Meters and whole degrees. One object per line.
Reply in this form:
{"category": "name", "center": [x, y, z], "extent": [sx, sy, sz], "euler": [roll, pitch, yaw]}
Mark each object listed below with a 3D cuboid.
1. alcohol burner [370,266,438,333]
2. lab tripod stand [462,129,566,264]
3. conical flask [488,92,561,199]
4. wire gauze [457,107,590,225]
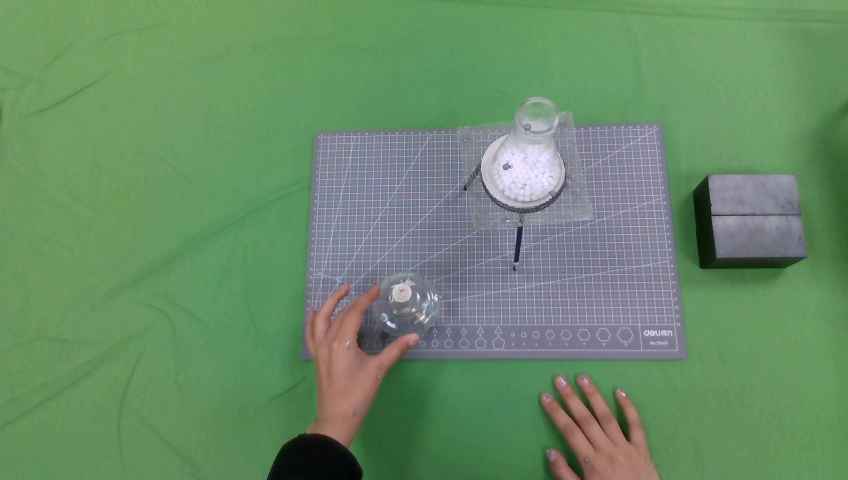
{"category": "alcohol burner", "center": [-0.023, 0.063, 0.676], "extent": [0.078, 0.120, 0.077], "euler": [0, 74, 2]}
{"category": "lab tripod stand", "center": [0.109, -0.060, 0.691], "extent": [0.148, 0.132, 0.147], "euler": [-1, 72, 3]}
{"category": "conical flask", "center": [0.099, -0.093, 0.571], "extent": [0.075, 0.122, 0.075], "euler": [-1, 73, 3]}
{"category": "wire gauze", "center": [0.102, -0.076, 0.629], "extent": [0.125, 0.011, 0.121], "euler": [-6, 76, -1]}
